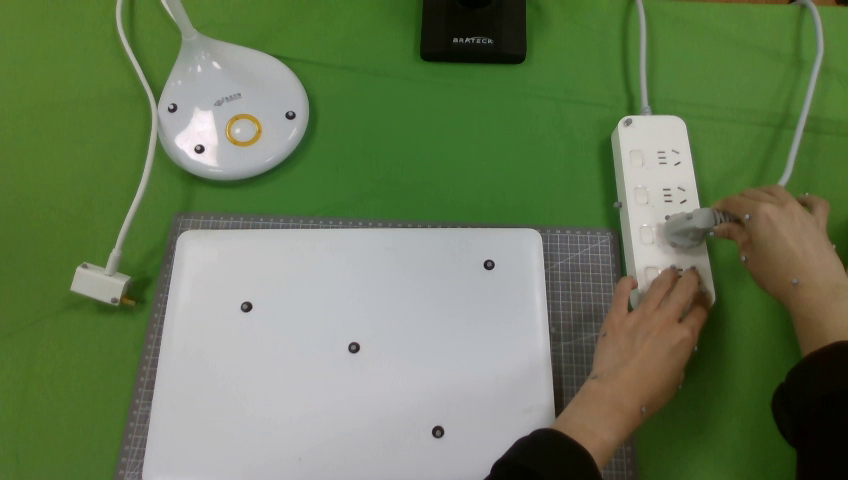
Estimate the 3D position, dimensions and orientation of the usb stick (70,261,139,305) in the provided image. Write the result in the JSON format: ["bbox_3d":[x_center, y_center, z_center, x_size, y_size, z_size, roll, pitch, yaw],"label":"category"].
[{"bbox_3d":[-0.298,0.043,0.573,0.059,0.021,0.027,25,97,-15],"label":"usb stick"}]

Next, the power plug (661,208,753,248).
[{"bbox_3d":[0.259,-0.007,0.563,0.072,0.053,0.035,9,70,12],"label":"power plug"}]

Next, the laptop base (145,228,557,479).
[{"bbox_3d":[-0.062,0.100,0.558,0.354,0.023,0.234,0,71,0],"label":"laptop base"}]

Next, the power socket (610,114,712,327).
[{"bbox_3d":[0.231,-0.027,0.601,0.072,0.033,0.225,1,68,0],"label":"power socket"}]

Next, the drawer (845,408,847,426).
[{"bbox_3d":[0.489,0.098,0.508,0.194,0.074,0.211,22,73,9],"label":"drawer"}]

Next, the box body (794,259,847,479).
[{"bbox_3d":[0.474,0.116,0.471,0.253,0.161,0.362,24,70,10],"label":"box body"}]

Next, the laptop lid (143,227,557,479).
[{"bbox_3d":[-0.063,0.098,0.546,0.357,0.013,0.240,1,70,1],"label":"laptop lid"}]

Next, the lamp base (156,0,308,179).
[{"bbox_3d":[-0.215,-0.176,0.585,0.160,0.181,0.178,-35,69,-13],"label":"lamp base"}]
